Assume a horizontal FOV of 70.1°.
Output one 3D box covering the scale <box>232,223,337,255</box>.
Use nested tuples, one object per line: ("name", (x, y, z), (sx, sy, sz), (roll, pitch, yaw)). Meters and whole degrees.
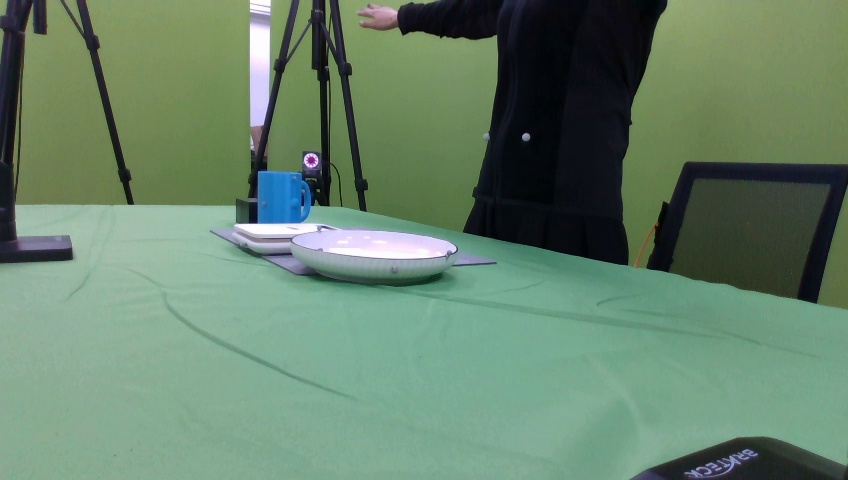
("scale", (-0.178, -0.004, 0.920), (0.202, 0.031, 0.148), (-1, 9, -30))

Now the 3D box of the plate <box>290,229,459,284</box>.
("plate", (-0.062, 0.020, 0.753), (0.209, 0.038, 0.209), (3, 9, 0))

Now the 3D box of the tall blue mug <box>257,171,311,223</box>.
("tall blue mug", (-0.258, -0.070, 1.107), (0.078, 0.108, 0.107), (2, 7, 5))
